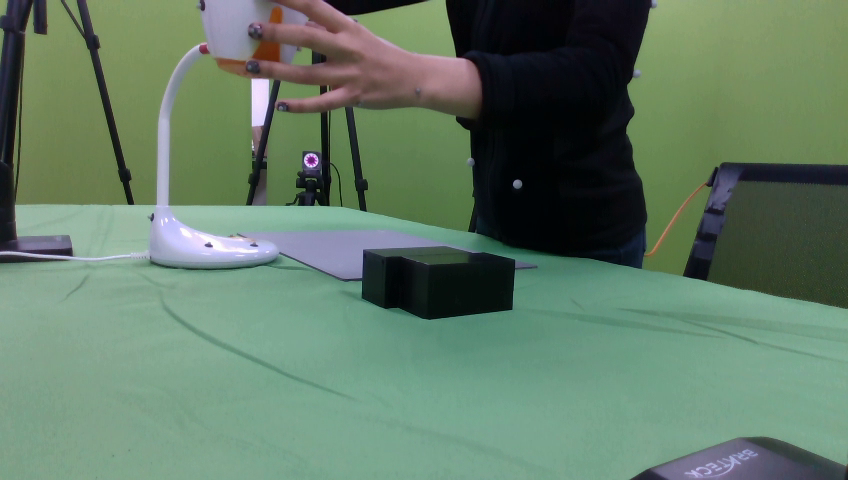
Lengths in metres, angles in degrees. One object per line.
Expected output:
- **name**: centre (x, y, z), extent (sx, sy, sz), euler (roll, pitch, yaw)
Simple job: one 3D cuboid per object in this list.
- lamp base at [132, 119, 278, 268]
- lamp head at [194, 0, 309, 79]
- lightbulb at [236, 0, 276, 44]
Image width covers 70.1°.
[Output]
- **lamp base**: centre (-0.279, -0.061, 0.770), extent (0.160, 0.180, 0.180), euler (9, 13, 44)
- **lamp head**: centre (-0.167, -0.216, 0.572), extent (0.112, 0.123, 0.112), euler (9, 8, -1)
- **lightbulb**: centre (-0.157, -0.239, 0.571), extent (0.059, 0.107, 0.059), euler (8, 0, 0)
